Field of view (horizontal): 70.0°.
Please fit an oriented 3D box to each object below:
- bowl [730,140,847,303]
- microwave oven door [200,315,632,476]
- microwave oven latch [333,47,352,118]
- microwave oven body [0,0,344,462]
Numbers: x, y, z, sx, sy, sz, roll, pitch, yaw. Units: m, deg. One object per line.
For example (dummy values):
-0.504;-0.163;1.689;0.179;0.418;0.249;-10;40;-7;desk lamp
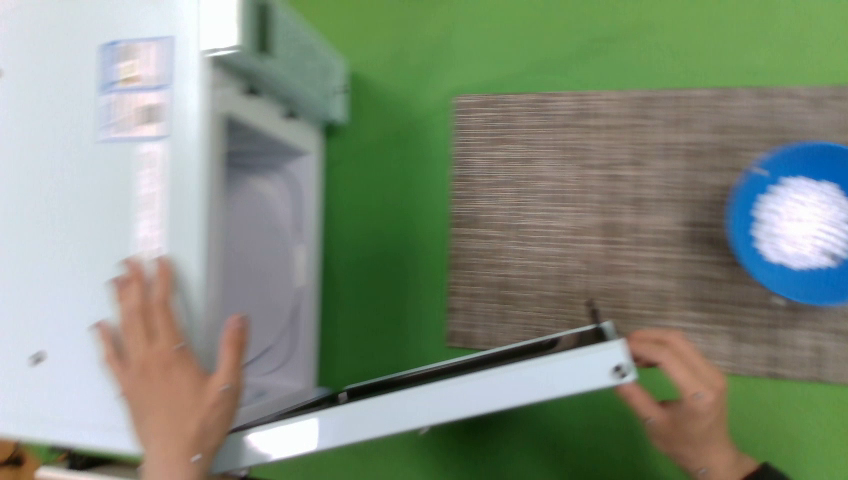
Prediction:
0.373;-0.015;0.589;0.151;0.077;0.151;-1;86;15;bowl
0.010;0.139;0.575;0.355;0.245;0.039;-17;81;13;microwave oven door
-0.103;-0.190;0.732;0.030;0.029;0.079;1;87;14;microwave oven latch
-0.279;-0.024;0.666;0.325;0.261;0.441;1;87;14;microwave oven body
